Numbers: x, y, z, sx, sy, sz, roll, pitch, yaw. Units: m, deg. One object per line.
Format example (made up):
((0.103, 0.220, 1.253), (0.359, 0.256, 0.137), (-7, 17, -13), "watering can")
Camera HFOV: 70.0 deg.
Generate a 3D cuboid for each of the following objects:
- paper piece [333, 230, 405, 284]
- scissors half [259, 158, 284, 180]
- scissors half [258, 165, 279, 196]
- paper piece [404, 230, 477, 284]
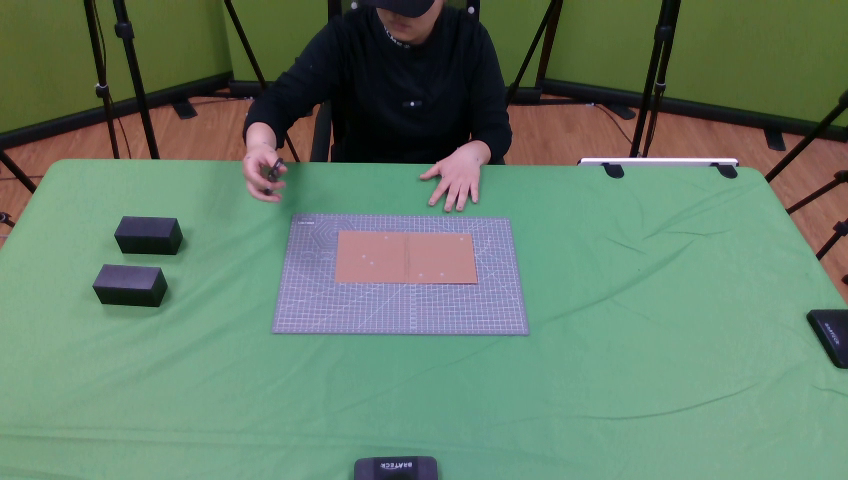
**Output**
((-0.104, 0.031, 1.165), (0.135, 0.004, 0.135), (2, 47, -4), "paper piece")
((-0.269, -0.127, 1.067), (0.013, 0.040, 0.175), (19, 4, -3), "scissors half")
((-0.277, -0.109, 1.065), (0.013, 0.175, 0.040), (25, 78, -2), "scissors half")
((0.030, 0.033, 1.174), (0.138, 0.009, 0.135), (2, 49, -3), "paper piece")
